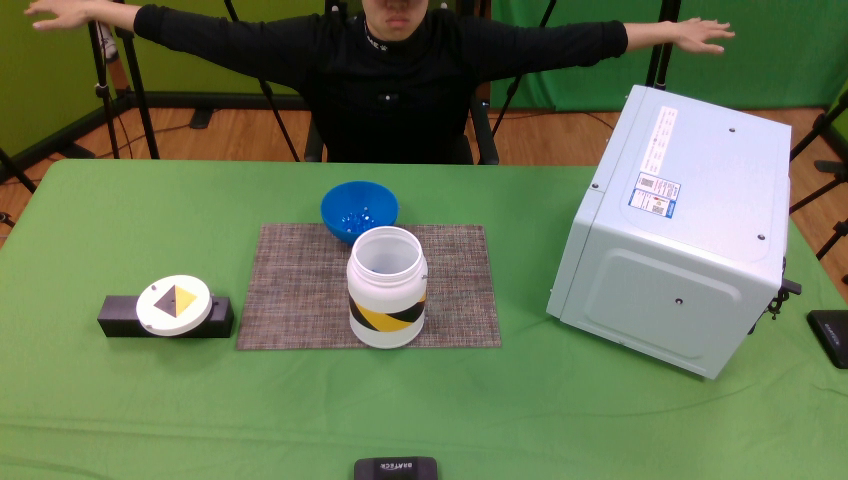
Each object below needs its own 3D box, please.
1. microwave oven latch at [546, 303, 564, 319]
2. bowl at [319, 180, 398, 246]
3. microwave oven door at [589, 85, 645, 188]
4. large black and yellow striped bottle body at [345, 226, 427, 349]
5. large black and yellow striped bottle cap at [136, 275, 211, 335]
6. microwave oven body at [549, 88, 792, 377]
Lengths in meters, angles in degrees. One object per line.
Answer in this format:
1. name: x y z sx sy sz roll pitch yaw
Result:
1. microwave oven latch: 0.242 0.102 1.081 0.030 0.029 0.079 21 48 17
2. bowl: -0.126 -0.039 1.181 0.151 0.077 0.150 3 46 -2
3. microwave oven door: 0.342 -0.107 1.149 0.039 0.245 0.354 20 48 15
4. large black and yellow striped bottle body: -0.062 0.078 0.998 0.131 0.185 0.130 2 46 -2
5. large black and yellow striped bottle cap: -0.412 0.105 0.999 0.115 0.019 0.114 3 46 -3
6. microwave oven body: 0.456 -0.028 1.088 0.325 0.261 0.440 20 47 16
